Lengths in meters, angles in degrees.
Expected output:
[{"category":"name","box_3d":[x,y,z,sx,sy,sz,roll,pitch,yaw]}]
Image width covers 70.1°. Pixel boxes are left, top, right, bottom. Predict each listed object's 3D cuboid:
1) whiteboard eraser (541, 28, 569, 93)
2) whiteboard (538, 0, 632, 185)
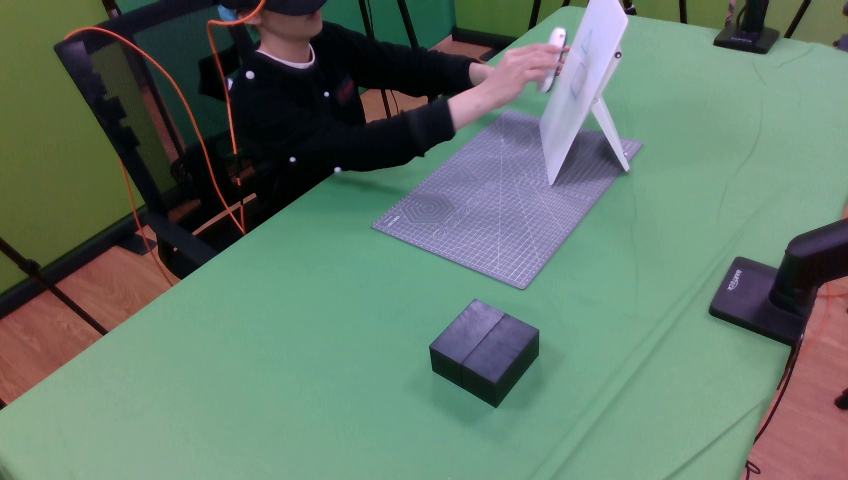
[{"category":"whiteboard eraser","box_3d":[0.212,-0.292,0.984,0.019,0.101,0.041,6,20,-14]},{"category":"whiteboard","box_3d":[0.327,-0.259,1.055,0.144,0.305,0.216,13,40,-6]}]
